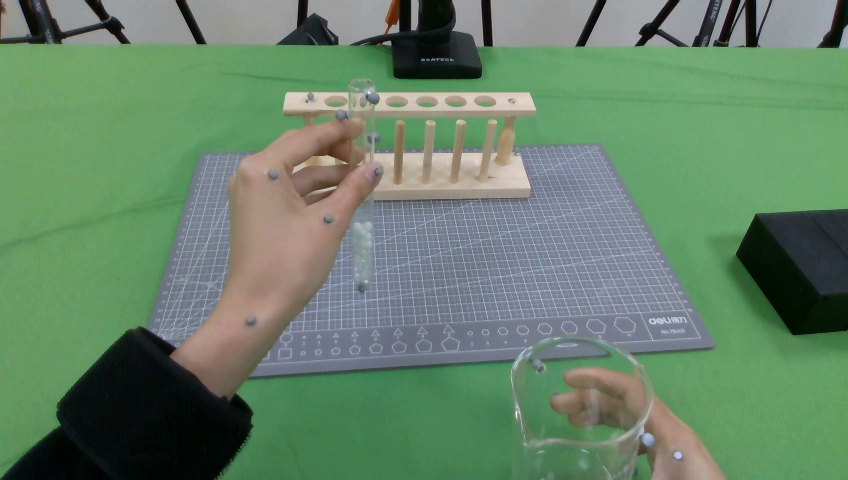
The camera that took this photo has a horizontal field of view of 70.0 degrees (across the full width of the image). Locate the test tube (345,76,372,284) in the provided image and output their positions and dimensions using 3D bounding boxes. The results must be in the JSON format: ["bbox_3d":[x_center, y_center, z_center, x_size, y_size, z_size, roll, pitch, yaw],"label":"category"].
[{"bbox_3d":[-0.041,-0.030,0.386,0.017,0.151,0.017,3,37,-2],"label":"test tube"}]

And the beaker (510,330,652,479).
[{"bbox_3d":[0.084,0.115,0.350,0.084,0.101,0.073,-34,45,-31],"label":"beaker"}]

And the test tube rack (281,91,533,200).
[{"bbox_3d":[-0.016,-0.095,0.607,0.243,0.086,0.066,-1,43,-5],"label":"test tube rack"}]
